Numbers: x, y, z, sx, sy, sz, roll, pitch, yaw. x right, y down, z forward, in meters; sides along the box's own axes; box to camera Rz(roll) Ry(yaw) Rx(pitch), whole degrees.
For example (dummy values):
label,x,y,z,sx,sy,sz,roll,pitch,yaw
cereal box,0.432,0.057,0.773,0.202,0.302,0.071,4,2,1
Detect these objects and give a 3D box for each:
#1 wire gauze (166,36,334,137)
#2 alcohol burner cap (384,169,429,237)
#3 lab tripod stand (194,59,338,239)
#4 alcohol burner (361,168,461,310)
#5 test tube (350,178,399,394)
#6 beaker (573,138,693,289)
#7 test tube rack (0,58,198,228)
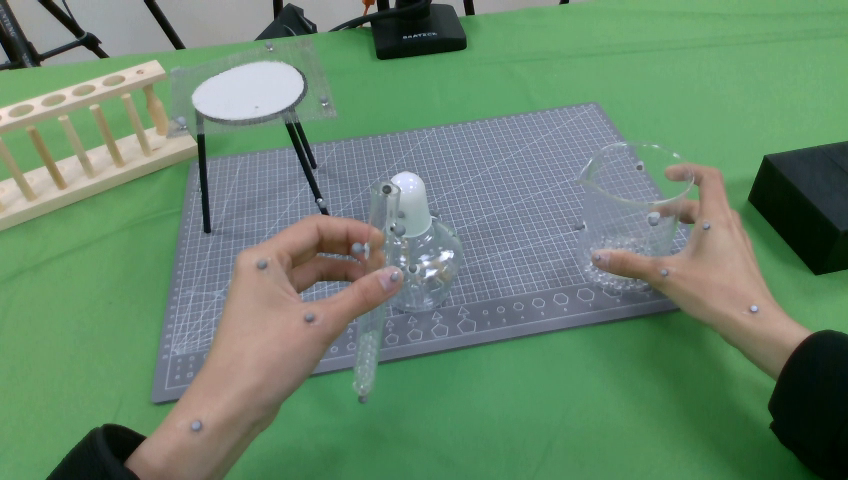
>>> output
label,x,y,z,sx,sy,sz,roll,pitch,yaw
wire gauze,-0.142,-0.123,0.480,0.125,0.011,0.120,-14,45,-8
alcohol burner cap,-0.014,-0.029,0.435,0.034,0.048,0.033,-3,46,3
lab tripod stand,-0.138,-0.075,0.528,0.148,0.133,0.147,-2,46,3
alcohol burner,-0.011,-0.004,0.460,0.078,0.120,0.077,-2,43,2
test tube,-0.031,0.034,0.353,0.017,0.151,0.017,7,32,-4
beaker,0.155,-0.017,0.472,0.084,0.101,0.073,-1,44,5
test tube rack,-0.363,-0.093,0.601,0.242,0.086,0.066,-27,49,-22
